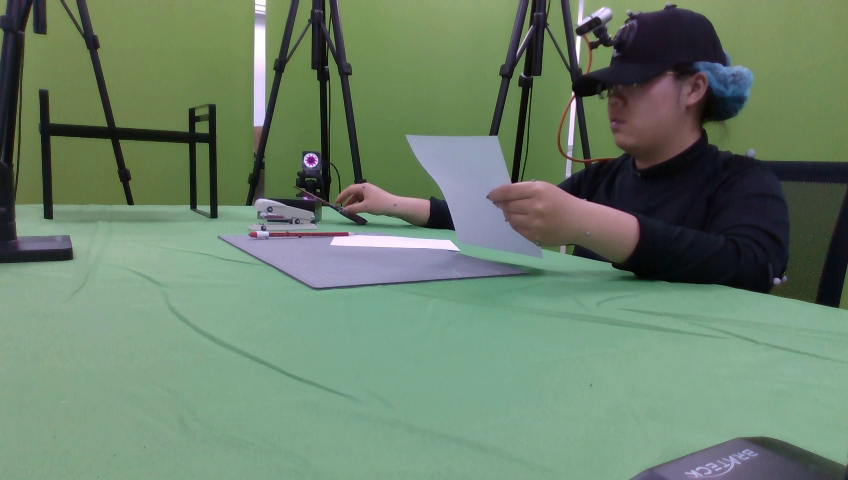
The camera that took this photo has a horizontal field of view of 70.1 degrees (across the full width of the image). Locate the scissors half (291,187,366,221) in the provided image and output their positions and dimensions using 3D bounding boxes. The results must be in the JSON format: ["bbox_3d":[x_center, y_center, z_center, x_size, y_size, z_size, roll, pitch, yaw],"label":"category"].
[{"bbox_3d":[-0.209,-0.079,1.330,0.176,0.013,0.040,23,8,-17],"label":"scissors half"}]

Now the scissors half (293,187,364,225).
[{"bbox_3d":[-0.210,-0.075,1.309,0.175,0.013,0.040,27,13,5],"label":"scissors half"}]

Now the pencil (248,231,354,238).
[{"bbox_3d":[-0.206,-0.009,1.039,0.195,0.012,0.012,0,8,-36],"label":"pencil"}]

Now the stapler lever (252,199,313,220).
[{"bbox_3d":[-0.273,-0.058,1.170,0.119,0.040,0.026,0,10,-37],"label":"stapler lever"}]

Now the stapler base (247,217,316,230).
[{"bbox_3d":[-0.276,-0.033,1.172,0.131,0.024,0.041,0,10,-37],"label":"stapler base"}]
